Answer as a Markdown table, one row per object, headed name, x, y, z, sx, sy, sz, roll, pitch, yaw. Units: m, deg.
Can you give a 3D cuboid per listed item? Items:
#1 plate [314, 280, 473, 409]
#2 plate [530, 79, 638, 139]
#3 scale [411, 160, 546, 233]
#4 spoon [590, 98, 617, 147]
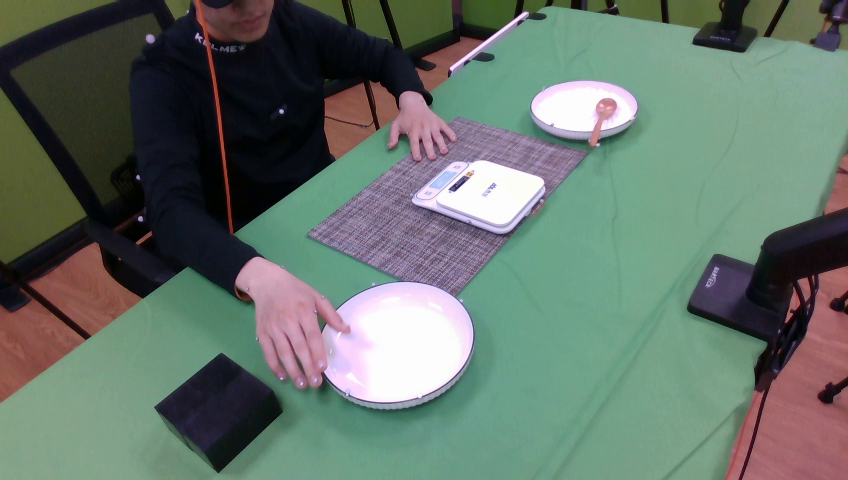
| name | x | y | z | sx | sy | sz | roll | pitch | yaw |
| --- | --- | --- | --- | --- | --- | --- | --- | --- | --- |
| plate | -0.039 | 0.139 | 0.801 | 0.207 | 0.039 | 0.206 | -3 | 41 | 3 |
| plate | 0.317 | -0.257 | 1.210 | 0.209 | 0.038 | 0.208 | -4 | 41 | 4 |
| scale | 0.092 | -0.083 | 1.039 | 0.199 | 0.032 | 0.149 | 22 | 48 | 30 |
| spoon | 0.334 | -0.225 | 1.145 | 0.041 | 0.022 | 0.194 | 11 | 37 | 20 |
